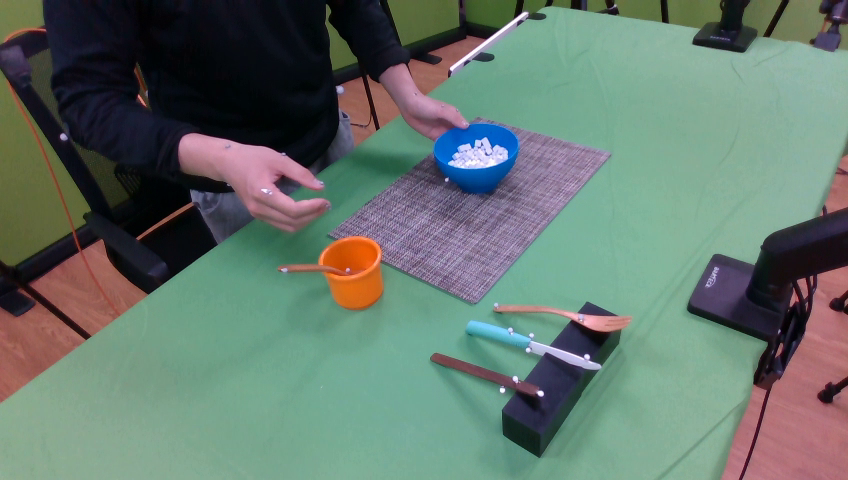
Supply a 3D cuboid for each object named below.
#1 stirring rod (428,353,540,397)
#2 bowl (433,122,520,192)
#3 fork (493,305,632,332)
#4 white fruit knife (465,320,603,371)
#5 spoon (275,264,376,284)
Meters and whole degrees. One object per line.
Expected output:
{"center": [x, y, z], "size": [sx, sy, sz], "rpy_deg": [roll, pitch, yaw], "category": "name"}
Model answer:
{"center": [0.068, 0.162, 0.736], "size": [0.174, 0.006, 0.014], "rpy_deg": [8, 41, 47], "category": "stirring rod"}
{"center": [0.093, -0.137, 1.064], "size": [0.151, 0.077, 0.150], "rpy_deg": [-4, 41, 4], "category": "bowl"}
{"center": [0.171, 0.097, 0.783], "size": [0.205, 0.019, 0.028], "rpy_deg": [4, 41, 43], "category": "fork"}
{"center": [0.128, 0.129, 0.749], "size": [0.205, 0.027, 0.016], "rpy_deg": [10, 44, 43], "category": "white fruit knife"}
{"center": [-0.133, 0.044, 0.840], "size": [0.041, 0.195, 0.021], "rpy_deg": [24, 95, 33], "category": "spoon"}
